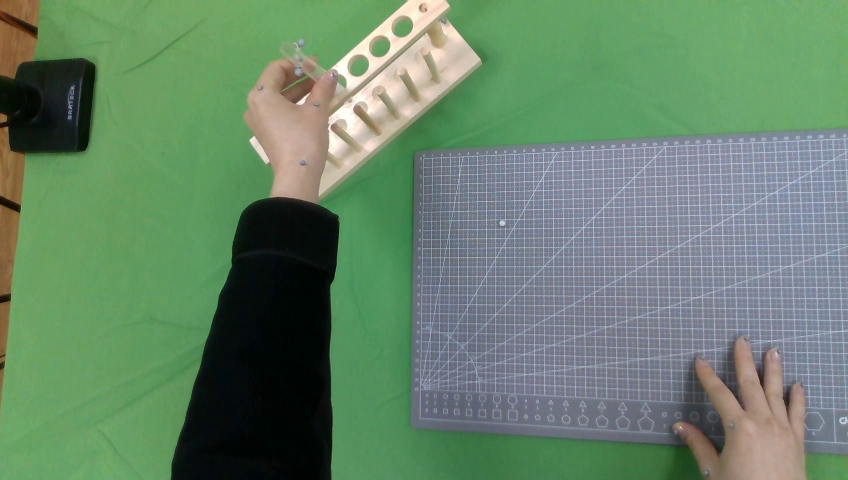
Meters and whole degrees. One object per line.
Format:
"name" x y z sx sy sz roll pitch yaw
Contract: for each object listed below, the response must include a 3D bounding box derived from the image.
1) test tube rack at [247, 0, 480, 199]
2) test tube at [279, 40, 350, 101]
"test tube rack" -0.061 -0.151 0.644 0.242 0.085 0.066 -39 77 7
"test tube" -0.099 -0.157 0.573 0.017 0.150 0.017 0 88 11
